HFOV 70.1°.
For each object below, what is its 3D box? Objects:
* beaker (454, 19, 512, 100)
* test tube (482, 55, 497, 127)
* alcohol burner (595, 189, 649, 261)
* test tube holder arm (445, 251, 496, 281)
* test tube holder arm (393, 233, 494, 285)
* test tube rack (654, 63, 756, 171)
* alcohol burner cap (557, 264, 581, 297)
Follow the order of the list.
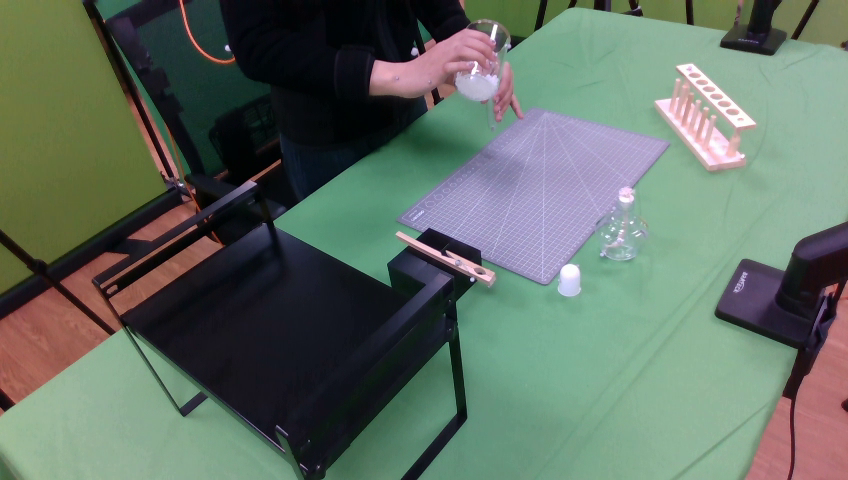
[{"bbox_3d":[0.089,-0.273,0.931,0.074,0.084,0.100,11,67,10],"label":"beaker"},{"bbox_3d":[0.114,-0.253,1.045,0.017,0.151,0.017,-5,52,7],"label":"test tube"},{"bbox_3d":[0.294,-0.028,0.894,0.078,0.119,0.077,-4,43,4],"label":"alcohol burner"},{"bbox_3d":[0.063,0.036,0.851,0.087,0.015,0.010,23,57,32],"label":"test tube holder arm"},{"bbox_3d":[0.024,0.025,0.872,0.177,0.015,0.013,22,56,31],"label":"test tube holder arm"},{"bbox_3d":[0.510,-0.233,1.120,0.067,0.085,0.241,-8,41,-1],"label":"test tube rack"},{"bbox_3d":[0.208,0.055,0.866,0.034,0.048,0.033,-4,42,4],"label":"alcohol burner cap"}]
